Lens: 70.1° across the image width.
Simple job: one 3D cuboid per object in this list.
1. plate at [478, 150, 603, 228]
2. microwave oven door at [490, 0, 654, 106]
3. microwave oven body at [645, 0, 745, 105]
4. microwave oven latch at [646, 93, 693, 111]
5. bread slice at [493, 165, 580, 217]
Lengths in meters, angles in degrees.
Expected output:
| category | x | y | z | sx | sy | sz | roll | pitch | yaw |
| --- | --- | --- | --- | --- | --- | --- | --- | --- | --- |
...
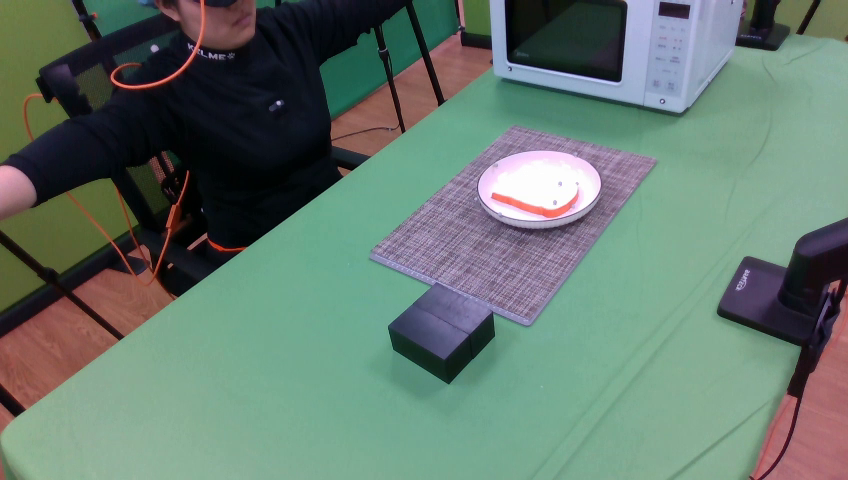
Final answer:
| category | x | y | z | sx | sy | sz | roll | pitch | yaw |
| --- | --- | --- | --- | --- | --- | --- | --- | --- | --- |
| plate | 0.198 | -0.084 | 1.030 | 0.209 | 0.038 | 0.208 | -5 | 40 | 5 |
| microwave oven door | 0.292 | -0.420 | 1.228 | 0.353 | 0.245 | 0.039 | 22 | 49 | 32 |
| microwave oven body | 0.416 | -0.486 | 1.290 | 0.438 | 0.261 | 0.327 | 21 | 50 | 33 |
| microwave oven latch | 0.477 | -0.273 | 1.177 | 0.078 | 0.029 | 0.030 | 22 | 50 | 33 |
| bread slice | 0.200 | -0.085 | 1.034 | 0.130 | 0.019 | 0.105 | 23 | 50 | 34 |
